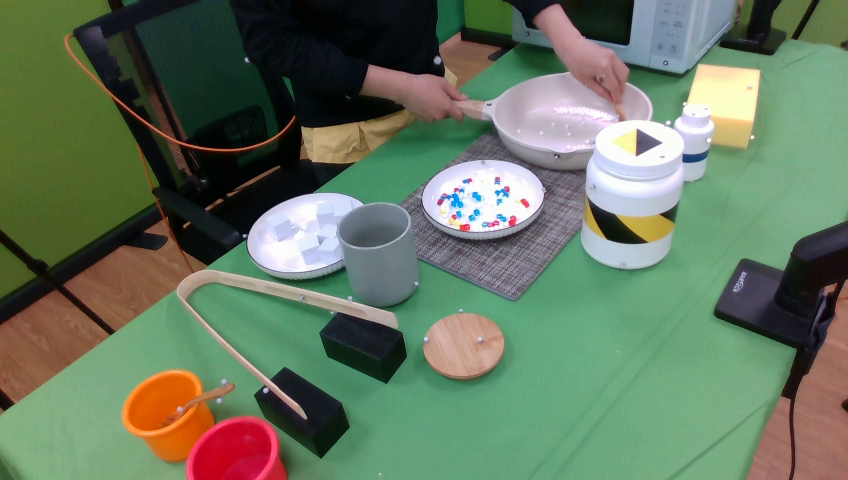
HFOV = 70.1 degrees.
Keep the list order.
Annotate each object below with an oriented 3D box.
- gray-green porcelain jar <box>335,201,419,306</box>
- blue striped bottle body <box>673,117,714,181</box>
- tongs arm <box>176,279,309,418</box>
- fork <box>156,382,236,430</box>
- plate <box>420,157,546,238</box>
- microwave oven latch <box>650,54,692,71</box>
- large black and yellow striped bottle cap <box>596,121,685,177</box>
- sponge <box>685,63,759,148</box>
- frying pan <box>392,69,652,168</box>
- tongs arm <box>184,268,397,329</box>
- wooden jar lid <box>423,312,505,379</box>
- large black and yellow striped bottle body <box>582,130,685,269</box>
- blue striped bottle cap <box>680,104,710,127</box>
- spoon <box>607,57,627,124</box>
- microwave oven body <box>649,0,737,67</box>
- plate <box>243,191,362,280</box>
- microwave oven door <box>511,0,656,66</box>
[{"bbox_3d":[-0.064,0.024,0.872,0.106,0.127,0.105,-4,41,4],"label":"gray-green porcelain jar"},{"bbox_3d":[0.449,-0.165,1.022,0.063,0.121,0.063,-5,41,4],"label":"blue striped bottle body"},{"bbox_3d":[-0.254,0.132,0.801,0.028,0.028,0.384,-41,40,-23],"label":"tongs arm"},{"bbox_3d":[-0.262,0.189,0.690,0.018,0.206,0.028,49,43,-7],"label":"fork"},{"bbox_3d":[0.099,-0.067,1.017,0.209,0.038,0.208,-4,40,4],"label":"plate"},{"bbox_3d":[0.531,-0.386,1.301,0.078,0.029,0.030,25,51,32],"label":"microwave oven latch"},{"bbox_3d":[0.293,-0.126,0.821,0.115,0.019,0.114,-5,40,4],"label":"large black and yellow striped bottle cap"},{"bbox_3d":[0.569,-0.263,1.164,0.117,0.061,0.207,12,45,22],"label":"sponge"},{"bbox_3d":[0.175,-0.248,1.166,0.487,0.103,0.306,12,43,9],"label":"frying pan"},{"bbox_3d":[-0.202,0.084,0.848,0.382,0.027,0.051,11,45,35],"label":"tongs arm"},{"bbox_3d":[0.053,0.142,0.800,0.108,0.021,0.108,-5,39,4],"label":"wooden jar lid"},{"bbox_3d":[0.301,-0.063,0.877,0.131,0.185,0.130,-4,41,4],"label":"large black and yellow striped bottle body"},{"bbox_3d":[0.443,-0.205,0.989,0.044,0.021,0.044,-1,41,2],"label":"blue striped bottle cap"},{"bbox_3d":[0.362,-0.268,1.146,0.021,0.042,0.193,-5,69,1],"label":"spoon"},{"bbox_3d":[0.475,-0.602,1.411,0.438,0.261,0.327,23,50,32],"label":"microwave oven body"},{"bbox_3d":[-0.188,-0.005,0.992,0.207,0.039,0.206,-4,41,4],"label":"plate"},{"bbox_3d":[0.351,-0.540,1.349,0.353,0.245,0.039,24,50,31],"label":"microwave oven door"}]
